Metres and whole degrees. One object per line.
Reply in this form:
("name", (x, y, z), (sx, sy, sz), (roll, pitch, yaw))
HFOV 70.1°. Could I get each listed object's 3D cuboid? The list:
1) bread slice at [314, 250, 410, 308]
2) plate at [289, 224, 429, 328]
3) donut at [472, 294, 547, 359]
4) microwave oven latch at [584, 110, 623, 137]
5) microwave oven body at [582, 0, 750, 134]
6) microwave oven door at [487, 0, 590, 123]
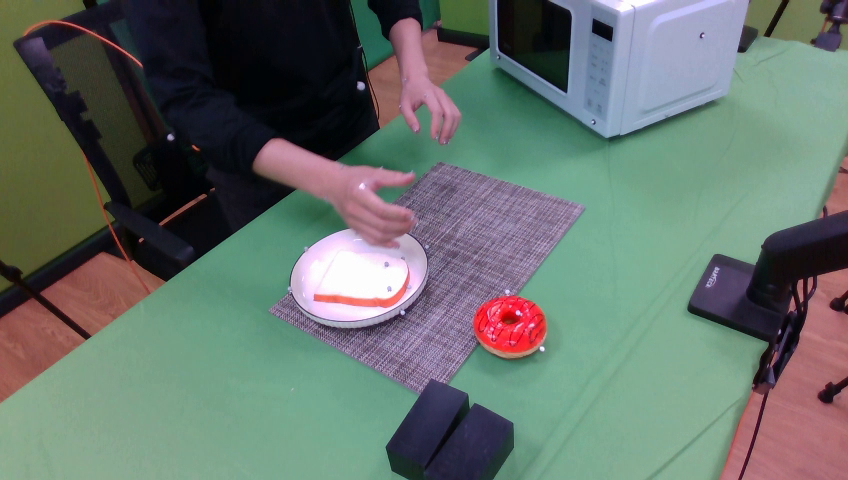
("bread slice", (-0.087, 0.057, 0.900), (0.131, 0.019, 0.104), (5, 42, 14))
("plate", (-0.094, 0.055, 0.902), (0.207, 0.039, 0.206), (-4, 41, 4))
("donut", (0.114, 0.114, 0.803), (0.099, 0.048, 0.098), (0, 40, 1))
("microwave oven latch", (0.337, -0.222, 1.142), (0.030, 0.029, 0.078), (-21, 42, -14))
("microwave oven body", (0.382, -0.445, 1.246), (0.327, 0.261, 0.437), (-22, 42, -16))
("microwave oven door", (0.232, -0.420, 1.231), (0.039, 0.245, 0.352), (-22, 43, -16))
